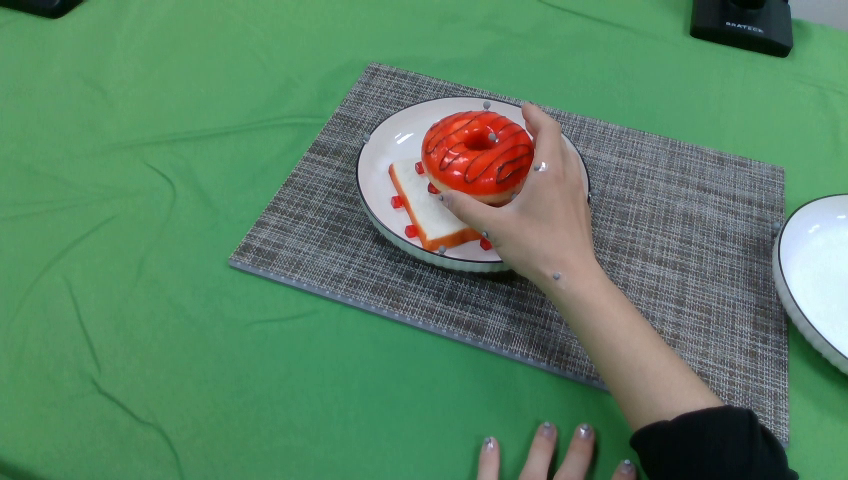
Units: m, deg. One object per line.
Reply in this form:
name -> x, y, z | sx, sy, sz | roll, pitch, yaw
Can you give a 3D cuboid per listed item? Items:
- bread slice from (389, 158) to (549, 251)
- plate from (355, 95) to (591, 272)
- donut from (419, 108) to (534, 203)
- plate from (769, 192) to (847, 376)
bread slice -> 0.044, -0.047, 0.547 | 0.132, 0.019, 0.104 | -17, 55, -14
plate -> 0.043, -0.052, 0.548 | 0.209, 0.038, 0.207 | 2, 52, -2
donut -> 0.044, -0.074, 0.520 | 0.099, 0.048, 0.098 | 3, 52, -3
plate -> 0.386, 0.048, 0.495 | 0.208, 0.039, 0.205 | 2, 52, -2
